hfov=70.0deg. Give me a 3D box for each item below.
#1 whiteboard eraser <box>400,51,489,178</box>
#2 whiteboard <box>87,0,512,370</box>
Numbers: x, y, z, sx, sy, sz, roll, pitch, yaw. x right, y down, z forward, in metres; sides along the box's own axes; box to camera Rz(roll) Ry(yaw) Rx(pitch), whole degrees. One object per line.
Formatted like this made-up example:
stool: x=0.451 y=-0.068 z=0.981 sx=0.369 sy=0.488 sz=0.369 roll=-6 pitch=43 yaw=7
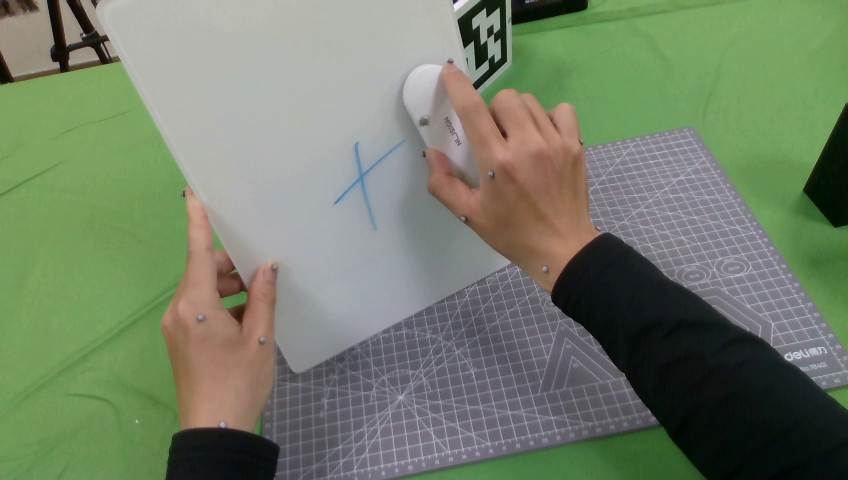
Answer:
whiteboard eraser: x=0.016 y=-0.092 z=0.450 sx=0.041 sy=0.102 sz=0.018 roll=-34 pitch=31 yaw=-5
whiteboard: x=-0.082 y=-0.090 z=0.497 sx=0.217 sy=0.308 sz=0.142 roll=-26 pitch=33 yaw=-12
